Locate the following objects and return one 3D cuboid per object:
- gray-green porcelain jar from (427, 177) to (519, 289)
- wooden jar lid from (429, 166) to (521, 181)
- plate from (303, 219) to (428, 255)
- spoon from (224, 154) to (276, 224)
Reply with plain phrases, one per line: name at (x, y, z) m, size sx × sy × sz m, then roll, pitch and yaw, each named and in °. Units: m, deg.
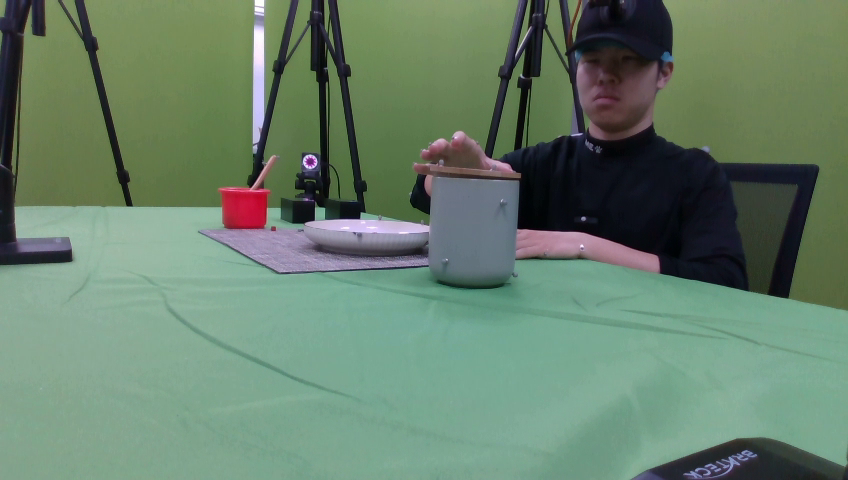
gray-green porcelain jar at (0.057, -0.010, 0.722) m, size 0.106 × 0.126 × 0.106 m, roll 2°, pitch 7°, yaw 0°
wooden jar lid at (0.059, -0.074, 0.714) m, size 0.108 × 0.020 × 0.108 m, roll 4°, pitch 6°, yaw 0°
plate at (-0.084, -0.005, 0.952) m, size 0.208 × 0.039 × 0.207 m, roll 3°, pitch 7°, yaw 0°
spoon at (-0.345, -0.106, 1.214) m, size 0.041 × 0.022 × 0.194 m, roll 2°, pitch 45°, yaw 26°
